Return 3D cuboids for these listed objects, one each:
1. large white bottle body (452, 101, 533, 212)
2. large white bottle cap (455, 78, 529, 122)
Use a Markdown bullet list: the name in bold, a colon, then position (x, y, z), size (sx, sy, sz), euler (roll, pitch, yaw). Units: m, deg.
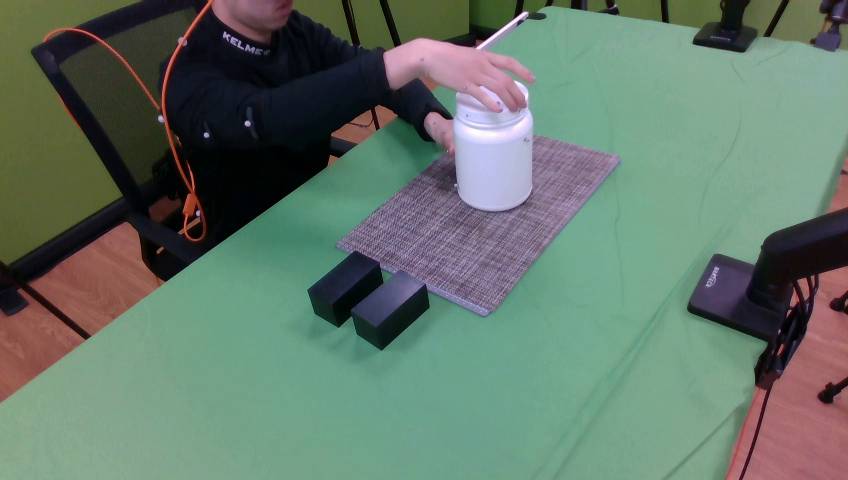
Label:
- **large white bottle body**: position (0.115, -0.154, 1.001), size (0.130, 0.185, 0.130), euler (-4, 41, 4)
- **large white bottle cap**: position (0.105, -0.220, 0.944), size (0.115, 0.018, 0.114), euler (-4, 41, 4)
